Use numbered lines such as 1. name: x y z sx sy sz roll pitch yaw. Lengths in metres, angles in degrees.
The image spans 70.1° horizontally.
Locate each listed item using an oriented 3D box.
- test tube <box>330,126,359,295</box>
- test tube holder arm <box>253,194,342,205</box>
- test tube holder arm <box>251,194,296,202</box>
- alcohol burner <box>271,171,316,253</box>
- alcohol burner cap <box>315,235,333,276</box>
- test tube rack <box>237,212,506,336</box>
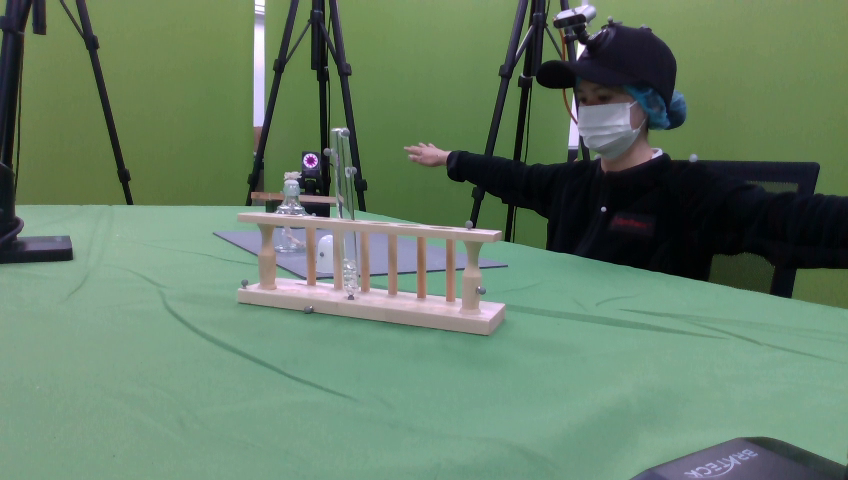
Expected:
1. test tube: -0.070 -0.024 0.533 0.017 0.150 0.017 -3 10 1
2. test tube holder arm: -0.256 -0.082 1.217 0.179 0.015 0.013 3 5 -7
3. test tube holder arm: -0.300 -0.084 1.207 0.088 0.015 0.010 3 5 -5
4. alcohol burner: -0.196 -0.041 0.884 0.078 0.119 0.078 3 5 0
5. alcohol burner cap: -0.116 0.018 0.728 0.034 0.048 0.034 3 6 0
6. test tube rack: -0.049 0.024 0.552 0.242 0.085 0.067 5 8 18
